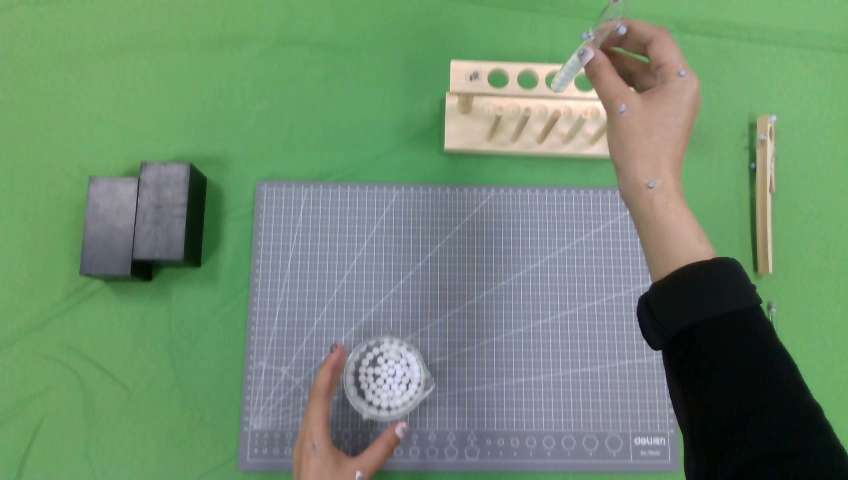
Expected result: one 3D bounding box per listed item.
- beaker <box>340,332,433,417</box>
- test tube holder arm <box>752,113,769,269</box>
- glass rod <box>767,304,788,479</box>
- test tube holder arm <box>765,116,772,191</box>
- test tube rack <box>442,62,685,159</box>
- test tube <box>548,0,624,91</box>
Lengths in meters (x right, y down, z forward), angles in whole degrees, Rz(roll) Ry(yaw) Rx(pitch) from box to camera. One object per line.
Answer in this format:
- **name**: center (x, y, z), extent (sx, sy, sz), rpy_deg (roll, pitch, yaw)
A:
- **beaker**: center (-0.034, 0.129, 0.585), extent (0.084, 0.100, 0.073), rpy_deg (9, 79, 0)
- **test tube holder arm**: center (0.375, -0.055, 0.675), extent (0.013, 0.015, 0.178), rpy_deg (13, 79, -31)
- **glass rod**: center (0.374, 0.167, 0.641), extent (0.008, 0.008, 0.199), rpy_deg (2, 79, -2)
- **test tube holder arm**: center (0.385, -0.098, 0.686), extent (0.010, 0.015, 0.087), rpy_deg (14, 78, -31)
- **test tube rack**: center (0.143, -0.136, 0.650), extent (0.242, 0.085, 0.066), rpy_deg (2, 79, -2)
- **test tube**: center (0.126, -0.153, 0.492), extent (0.017, 0.150, 0.017), rpy_deg (0, 83, -4)
